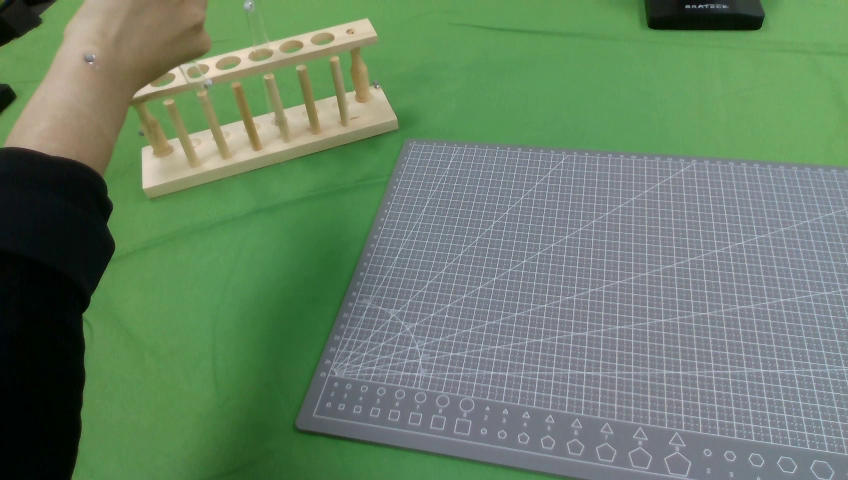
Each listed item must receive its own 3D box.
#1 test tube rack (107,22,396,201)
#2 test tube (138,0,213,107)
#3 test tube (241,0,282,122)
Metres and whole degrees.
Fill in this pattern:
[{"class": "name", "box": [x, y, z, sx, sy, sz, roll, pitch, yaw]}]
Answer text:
[{"class": "test tube rack", "box": [-0.155, -0.122, 0.569, 0.242, 0.086, 0.066, -18, 48, -9]}, {"class": "test tube", "box": [-0.200, -0.164, 0.468, 0.017, 0.152, 0.017, -4, 54, 6]}, {"class": "test tube", "box": [-0.148, -0.175, 0.547, 0.017, 0.151, 0.017, -1, 41, 1]}]
